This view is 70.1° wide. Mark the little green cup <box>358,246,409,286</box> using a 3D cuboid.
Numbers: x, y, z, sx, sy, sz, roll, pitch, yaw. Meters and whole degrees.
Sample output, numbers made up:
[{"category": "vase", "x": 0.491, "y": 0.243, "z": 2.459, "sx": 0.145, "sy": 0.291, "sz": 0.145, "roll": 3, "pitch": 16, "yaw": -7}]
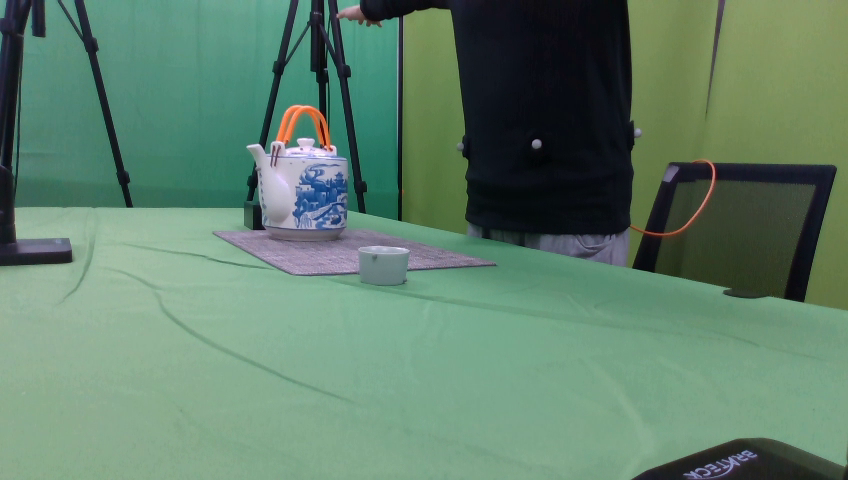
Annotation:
[{"category": "little green cup", "x": -0.048, "y": 0.030, "z": 0.707, "sx": 0.061, "sy": 0.038, "sz": 0.061, "roll": 2, "pitch": 8, "yaw": 0}]

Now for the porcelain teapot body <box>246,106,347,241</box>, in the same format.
[{"category": "porcelain teapot body", "x": -0.219, "y": -0.114, "z": 1.019, "sx": 0.144, "sy": 0.225, "sz": 0.206, "roll": 6, "pitch": 9, "yaw": 26}]

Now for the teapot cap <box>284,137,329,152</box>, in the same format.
[{"category": "teapot cap", "x": -0.205, "y": -0.155, "z": 1.041, "sx": 0.085, "sy": 0.044, "sz": 0.085, "roll": 0, "pitch": 8, "yaw": 0}]
